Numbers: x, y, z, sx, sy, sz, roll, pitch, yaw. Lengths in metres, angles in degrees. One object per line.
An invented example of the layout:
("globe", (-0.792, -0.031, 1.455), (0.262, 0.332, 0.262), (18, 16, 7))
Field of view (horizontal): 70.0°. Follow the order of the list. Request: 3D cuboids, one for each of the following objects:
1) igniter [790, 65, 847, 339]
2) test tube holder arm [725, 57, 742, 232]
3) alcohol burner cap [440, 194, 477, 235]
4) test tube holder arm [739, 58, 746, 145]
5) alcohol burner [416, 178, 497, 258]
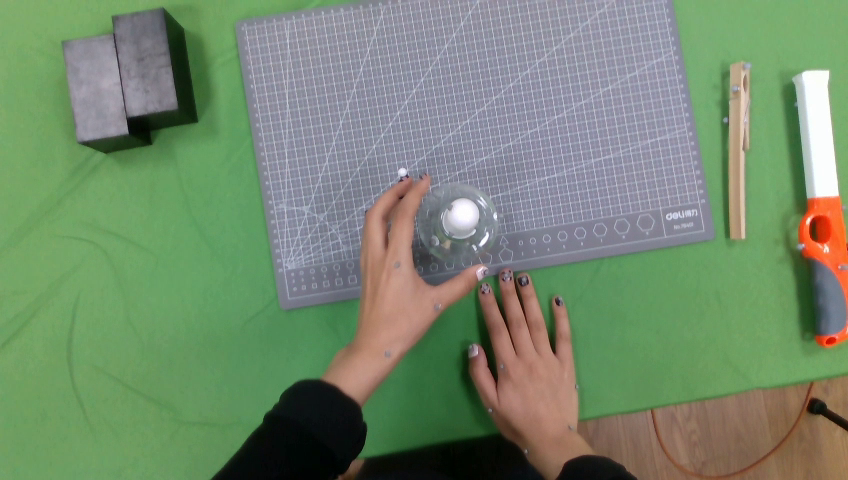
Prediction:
("igniter", (0.402, -0.039, 0.615), (0.057, 0.025, 0.276), (-4, 88, -10))
("test tube holder arm", (0.317, -0.097, 0.620), (0.013, 0.015, 0.178), (1, 90, -35))
("alcohol burner cap", (0.031, -0.023, 0.529), (0.034, 0.048, 0.033), (0, 82, -1))
("test tube holder arm", (0.323, -0.142, 0.624), (0.010, 0.015, 0.087), (3, 89, -35))
("alcohol burner", (0.031, -0.022, 0.565), (0.078, 0.119, 0.078), (0, 86, -2))
